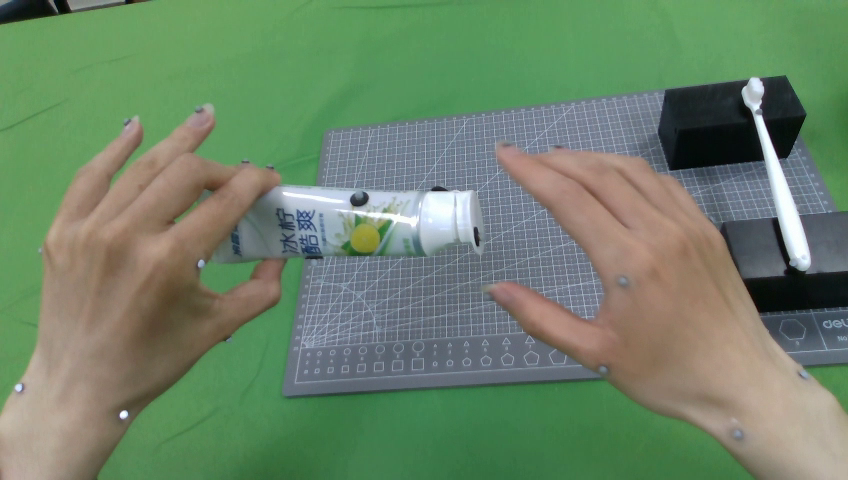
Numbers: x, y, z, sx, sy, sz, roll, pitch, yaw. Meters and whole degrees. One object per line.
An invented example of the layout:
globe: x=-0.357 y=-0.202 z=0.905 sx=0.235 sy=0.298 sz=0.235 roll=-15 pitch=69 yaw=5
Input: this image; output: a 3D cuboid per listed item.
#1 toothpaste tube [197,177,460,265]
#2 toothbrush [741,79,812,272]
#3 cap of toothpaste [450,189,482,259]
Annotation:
toothpaste tube: x=-0.053 y=-0.011 z=0.338 sx=0.164 sy=0.055 sz=0.034 roll=0 pitch=16 yaw=17
toothbrush: x=0.263 y=-0.055 z=0.452 sx=0.014 sy=0.017 sz=0.180 roll=6 pitch=56 yaw=1
cap of toothpaste: x=0.022 y=-0.008 z=0.315 sx=0.011 sy=0.038 sz=0.037 roll=2 pitch=54 yaw=18
